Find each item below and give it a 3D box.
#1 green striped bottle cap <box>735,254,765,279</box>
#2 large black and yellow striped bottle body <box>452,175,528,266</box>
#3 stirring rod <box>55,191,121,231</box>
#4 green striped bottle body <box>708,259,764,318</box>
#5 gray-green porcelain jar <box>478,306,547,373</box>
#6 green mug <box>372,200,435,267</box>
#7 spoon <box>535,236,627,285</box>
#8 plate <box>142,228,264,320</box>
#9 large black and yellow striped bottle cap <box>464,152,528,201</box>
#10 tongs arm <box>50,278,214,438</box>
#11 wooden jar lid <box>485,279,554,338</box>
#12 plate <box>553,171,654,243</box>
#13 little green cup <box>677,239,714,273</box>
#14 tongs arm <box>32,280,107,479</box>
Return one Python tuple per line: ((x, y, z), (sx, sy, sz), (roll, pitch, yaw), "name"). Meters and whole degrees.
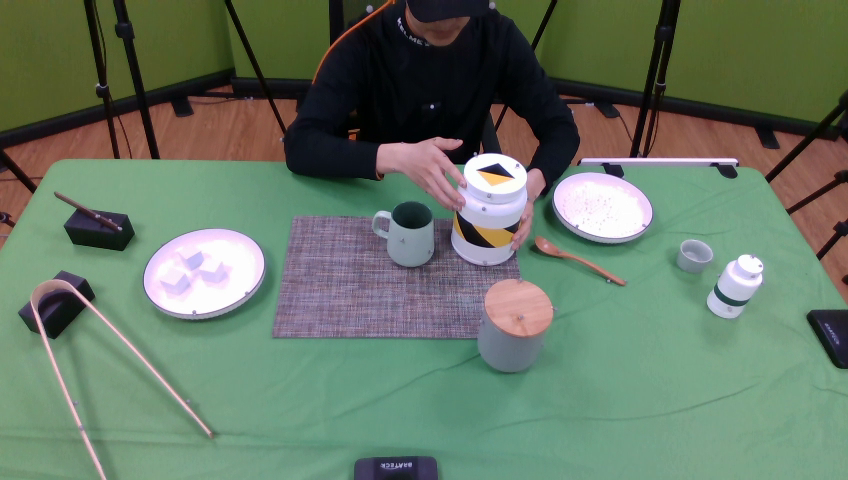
((0.566, 0.046, 1.051), (0.044, 0.020, 0.044), (0, 45, 0), "green striped bottle cap")
((0.123, -0.056, 1.141), (0.131, 0.185, 0.130), (2, 46, -2), "large black and yellow striped bottle body")
((-0.632, -0.055, 1.138), (0.175, 0.014, 0.006), (24, 50, 19), "stirring rod")
((0.563, 0.081, 1.089), (0.063, 0.120, 0.063), (2, 46, -2), "green striped bottle body")
((0.144, 0.148, 0.989), (0.106, 0.127, 0.105), (2, 50, -2), "gray-green porcelain jar")
((-0.040, -0.015, 1.146), (0.125, 0.105, 0.092), (16, 48, 12), "green mug")
((0.304, 0.040, 1.178), (0.193, 0.022, 0.041), (25, 35, 20), "spoon")
((-0.394, 0.064, 1.095), (0.208, 0.039, 0.206), (2, 46, -2), "plate")
((0.129, -0.115, 1.081), (0.115, 0.019, 0.114), (2, 47, -1), "large black and yellow striped bottle cap")
((-0.459, 0.178, 0.948), (0.386, 0.028, 0.028), (38, 60, 17), "tongs arm")
((0.147, 0.108, 0.940), (0.108, 0.021, 0.107), (4, 47, -4), "wooden jar lid")
((0.373, -0.066, 1.274), (0.209, 0.038, 0.208), (2, 46, -2), "plate")
((0.530, 0.033, 1.189), (0.061, 0.039, 0.061), (2, 47, -2), "little green cup")
((-0.517, 0.213, 0.909), (0.051, 0.026, 0.383), (-29, 63, -26), "tongs arm")
